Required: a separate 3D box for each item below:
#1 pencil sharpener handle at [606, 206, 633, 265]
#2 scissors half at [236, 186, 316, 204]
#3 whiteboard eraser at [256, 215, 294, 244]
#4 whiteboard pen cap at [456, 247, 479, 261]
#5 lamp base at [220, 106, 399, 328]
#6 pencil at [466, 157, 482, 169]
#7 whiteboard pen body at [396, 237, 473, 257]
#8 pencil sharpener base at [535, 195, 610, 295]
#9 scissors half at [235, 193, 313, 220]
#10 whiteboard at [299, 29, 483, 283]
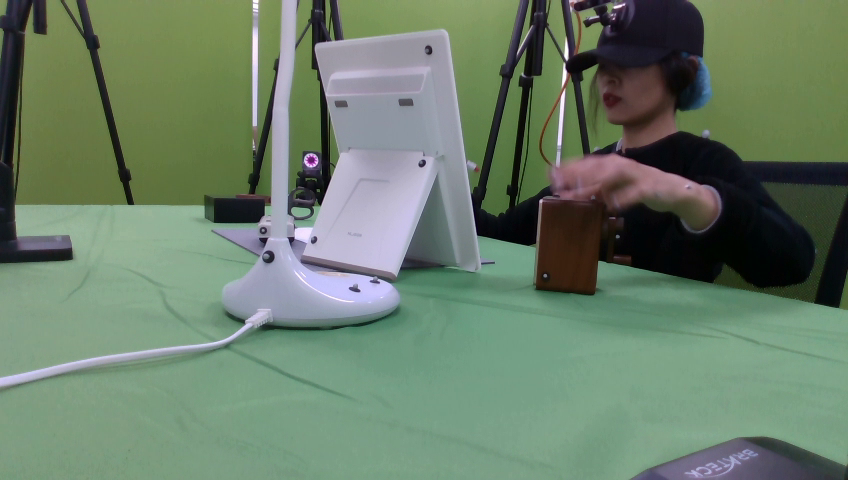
[{"bbox_3d":[0.222,-0.004,0.683,0.030,0.068,0.036,5,19,16],"label":"pencil sharpener handle"},{"bbox_3d":[-0.320,-0.097,1.316,0.176,0.040,0.013,-3,11,-29],"label":"scissors half"},{"bbox_3d":[-0.232,-0.016,0.951,0.056,0.042,0.112,2,7,-12],"label":"whiteboard eraser"},{"bbox_3d":[0.060,0.020,0.851,0.033,0.018,0.018,10,10,37],"label":"whiteboard pen cap"},{"bbox_3d":[-0.101,-0.023,0.531,0.160,0.180,0.179,4,10,10],"label":"lamp base"},{"bbox_3d":[0.029,-0.187,1.164,0.195,0.012,0.012,28,1,-15],"label":"pencil"},{"bbox_3d":[0.014,0.012,0.886,0.140,0.017,0.017,10,10,38],"label":"whiteboard pen body"},{"bbox_3d":[0.172,0.005,0.696,0.076,0.107,0.061,5,7,16],"label":"pencil sharpener base"},{"bbox_3d":[-0.325,-0.077,1.319,0.176,0.040,0.012,17,6,-32],"label":"scissors half"},{"bbox_3d":[-0.074,-0.082,0.742,0.216,0.305,0.144,9,30,38],"label":"whiteboard"}]
